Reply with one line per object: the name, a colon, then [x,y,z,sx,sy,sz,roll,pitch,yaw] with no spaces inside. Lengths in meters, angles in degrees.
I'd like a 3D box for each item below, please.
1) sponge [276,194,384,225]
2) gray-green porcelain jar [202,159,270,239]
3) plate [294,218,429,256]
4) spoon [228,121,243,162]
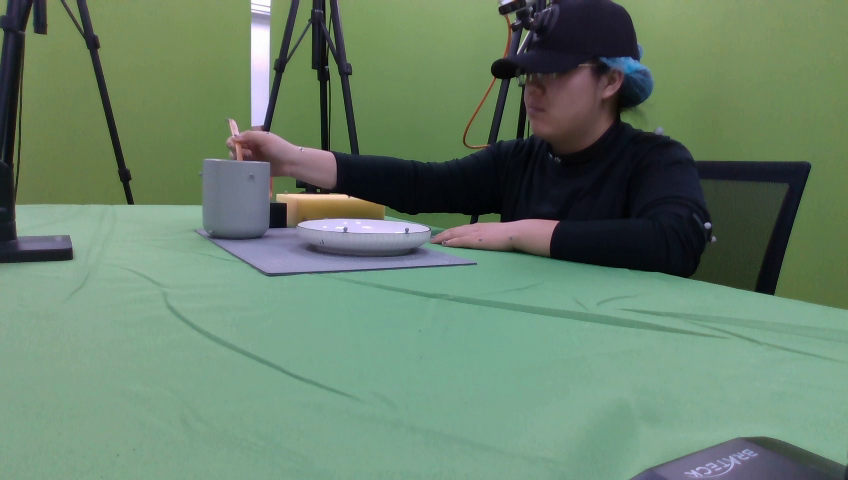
sponge: [-0.203,-0.066,1.312,0.208,0.061,0.117,-2,8,-35]
gray-green porcelain jar: [-0.310,-0.068,0.999,0.106,0.126,0.106,3,8,0]
plate: [-0.096,-0.005,0.936,0.208,0.039,0.207,3,7,0]
spoon: [-0.314,-0.145,1.025,0.042,0.021,0.193,6,45,-30]
